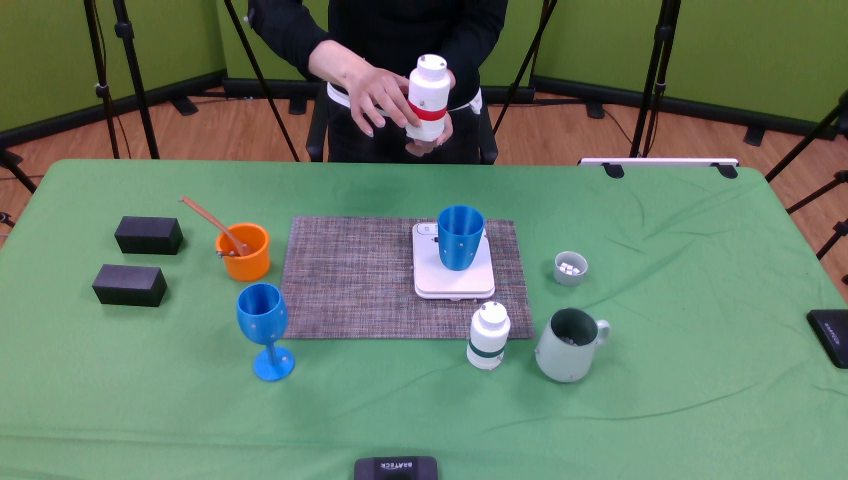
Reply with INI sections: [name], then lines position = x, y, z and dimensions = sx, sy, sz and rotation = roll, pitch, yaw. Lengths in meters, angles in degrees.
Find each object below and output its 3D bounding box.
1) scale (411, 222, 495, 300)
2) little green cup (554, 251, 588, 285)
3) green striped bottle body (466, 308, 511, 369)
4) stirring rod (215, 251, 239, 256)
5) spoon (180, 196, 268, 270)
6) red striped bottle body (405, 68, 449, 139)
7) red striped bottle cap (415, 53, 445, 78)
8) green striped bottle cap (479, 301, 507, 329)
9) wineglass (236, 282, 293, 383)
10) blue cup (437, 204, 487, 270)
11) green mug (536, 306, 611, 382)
[scale]
position = 0.052, 0.031, 1.158
dimensions = 0.149, 0.032, 0.199
rotation = 1, 46, -4
[little green cup]
position = 0.277, 0.055, 1.152
dimensions = 0.061, 0.039, 0.061
rotation = 1, 45, -1
[green striped bottle body]
position = 0.106, 0.154, 0.988
dimensions = 0.063, 0.120, 0.063
rotation = 2, 46, -2
[stirring rod]
position = -0.340, 0.024, 1.059
dimensions = 0.014, 0.176, 0.006
rotation = 15, 86, -6
[spoon]
position = -0.360, -0.014, 1.094
dimensions = 0.021, 0.194, 0.041
rotation = -27, 26, 31
[red striped bottle body]
position = 0.004, -0.222, 0.938
dimensions = 0.063, 0.120, 0.062
rotation = 4, 45, -3
[red striped bottle cap]
position = 0.009, -0.260, 0.901
dimensions = 0.044, 0.018, 0.044
rotation = 3, 47, -3
[green striped bottle cap]
position = 0.109, 0.118, 0.950
dimensions = 0.044, 0.020, 0.044
rotation = 2, 47, -2
[wineglass]
position = -0.243, 0.143, 0.934
dimensions = 0.074, 0.173, 0.073
rotation = 2, 46, -2
[blue cup]
position = 0.063, 0.000, 1.098
dimensions = 0.093, 0.101, 0.092
rotation = 2, 44, -2
[green mug]
position = 0.250, 0.167, 0.996
dimensions = 0.125, 0.105, 0.092
rotation = -16, 48, -18
